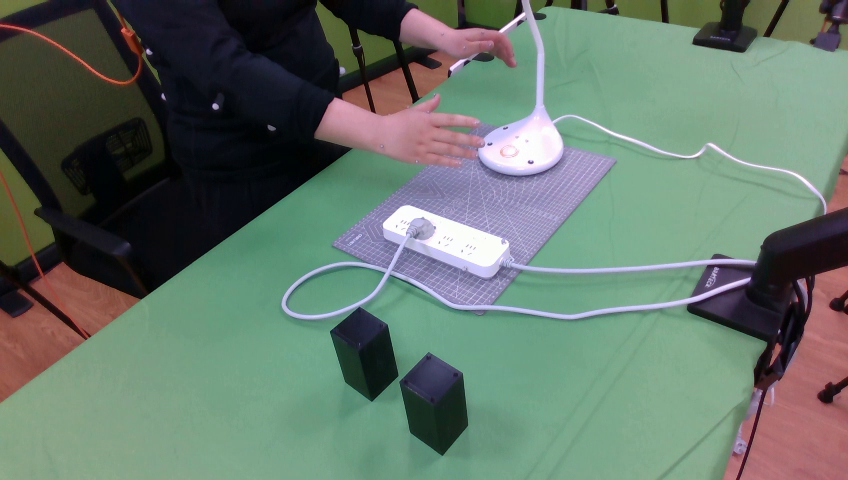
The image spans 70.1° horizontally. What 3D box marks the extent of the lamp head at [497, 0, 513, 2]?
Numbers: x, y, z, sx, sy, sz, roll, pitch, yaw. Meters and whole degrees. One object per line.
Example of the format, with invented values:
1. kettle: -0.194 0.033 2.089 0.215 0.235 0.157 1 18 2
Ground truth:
1. lamp head: 0.120 -0.420 0.861 0.111 0.113 0.123 24 72 32

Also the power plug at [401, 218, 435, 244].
1. power plug: -0.015 -0.005 0.937 0.073 0.053 0.035 -37 46 -26

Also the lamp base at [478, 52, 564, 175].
1. lamp base: 0.181 -0.236 1.095 0.159 0.181 0.179 20 44 29

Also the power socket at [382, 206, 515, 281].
1. power socket: 0.032 0.002 0.950 0.225 0.033 0.072 21 49 29
